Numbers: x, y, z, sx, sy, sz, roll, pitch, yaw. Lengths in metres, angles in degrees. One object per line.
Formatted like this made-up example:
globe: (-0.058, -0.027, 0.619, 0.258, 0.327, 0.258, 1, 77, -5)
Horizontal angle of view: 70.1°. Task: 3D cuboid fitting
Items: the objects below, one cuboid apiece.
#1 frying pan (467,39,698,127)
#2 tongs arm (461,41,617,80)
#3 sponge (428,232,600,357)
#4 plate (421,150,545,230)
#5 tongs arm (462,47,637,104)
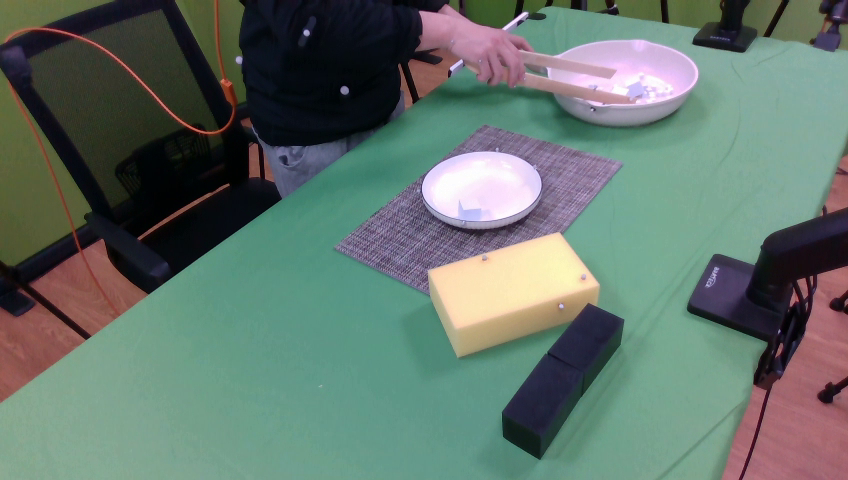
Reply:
frying pan: (0.312, -0.359, 1.277, 0.485, 0.103, 0.307, 23, 48, 19)
tongs arm: (0.229, -0.336, 1.149, 0.391, 0.027, 0.028, -1, 57, -32)
sponge: (0.120, 0.071, 0.834, 0.207, 0.061, 0.117, -16, 43, -12)
plate: (0.100, -0.082, 1.031, 0.207, 0.039, 0.206, -4, 40, 4)
tongs arm: (0.244, -0.296, 1.120, 0.388, 0.026, 0.050, 2, 51, -30)
